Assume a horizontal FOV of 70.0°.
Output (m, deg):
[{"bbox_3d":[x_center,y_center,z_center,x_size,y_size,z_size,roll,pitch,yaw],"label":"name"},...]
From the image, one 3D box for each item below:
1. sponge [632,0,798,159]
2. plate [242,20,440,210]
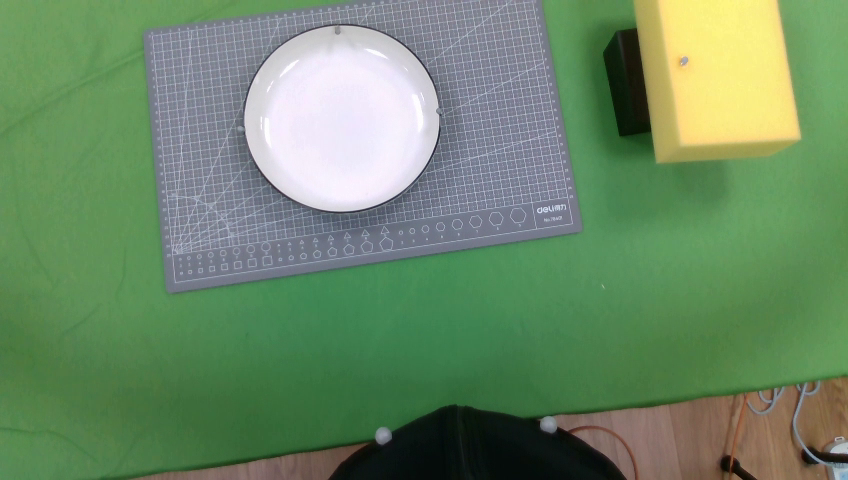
[{"bbox_3d":[0.285,-0.191,0.608,0.118,0.061,0.206,-5,82,-2],"label":"sponge"},{"bbox_3d":[-0.087,-0.131,0.652,0.209,0.038,0.208,0,82,-1],"label":"plate"}]
